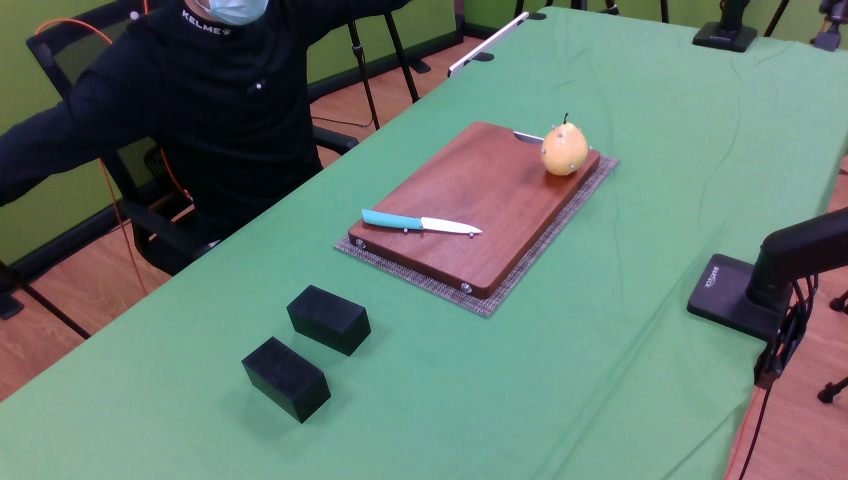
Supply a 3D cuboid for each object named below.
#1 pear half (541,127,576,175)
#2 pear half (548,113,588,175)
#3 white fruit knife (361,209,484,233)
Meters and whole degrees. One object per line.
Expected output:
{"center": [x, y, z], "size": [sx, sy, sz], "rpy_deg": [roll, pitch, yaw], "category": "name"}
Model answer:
{"center": [0.219, -0.145, 1.010], "size": [0.070, 0.088, 0.031], "rpy_deg": [35, 55, 29], "category": "pear half"}
{"center": [0.245, -0.170, 1.020], "size": [0.056, 0.110, 0.075], "rpy_deg": [-36, 52, -29], "category": "pear half"}
{"center": [-0.006, -0.027, 0.960], "size": [0.207, 0.016, 0.027], "rpy_deg": [7, 56, 14], "category": "white fruit knife"}
